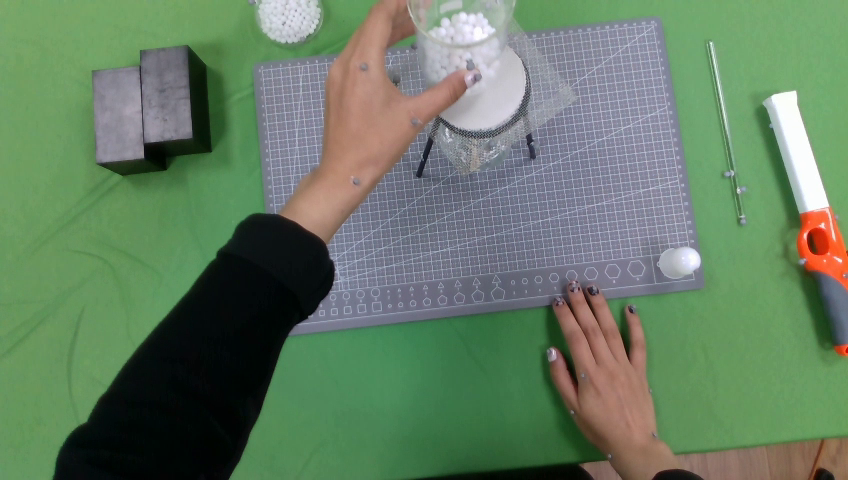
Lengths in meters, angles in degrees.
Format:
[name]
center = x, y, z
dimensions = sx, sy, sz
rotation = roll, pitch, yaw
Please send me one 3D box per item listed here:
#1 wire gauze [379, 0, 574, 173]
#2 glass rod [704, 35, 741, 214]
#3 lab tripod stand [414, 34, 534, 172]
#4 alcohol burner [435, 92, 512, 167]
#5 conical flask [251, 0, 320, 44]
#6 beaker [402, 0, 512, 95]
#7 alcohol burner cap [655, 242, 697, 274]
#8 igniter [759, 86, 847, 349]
[wire gauze]
center = 0.044, -0.138, 0.523
dimensions = 0.125, 0.011, 0.121
rotation = -36, 85, -2
[glass rod]
center = 0.320, -0.126, 0.650
dimensions = 0.008, 0.008, 0.199
rotation = -7, 84, 0
[lab tripod stand]
center = 0.046, -0.125, 0.589
dimensions = 0.148, 0.131, 0.148
rotation = 0, 85, 1
[alcohol burner]
center = 0.050, -0.114, 0.598
dimensions = 0.078, 0.119, 0.077
rotation = 0, 82, 0
[conical flask]
center = -0.153, -0.259, 0.616
dimensions = 0.075, 0.122, 0.075
rotation = 0, 83, 1
[beaker]
center = 0.028, -0.161, 0.463
dimensions = 0.084, 0.100, 0.074
rotation = -27, 83, -1
[alcohol burner cap]
center = 0.259, 0.016, 0.616
dimensions = 0.034, 0.048, 0.034
rotation = 0, 83, 2
[igniter]
center = 0.403, -0.026, 0.628
dimensions = 0.057, 0.025, 0.275
rotation = -12, 84, -11
